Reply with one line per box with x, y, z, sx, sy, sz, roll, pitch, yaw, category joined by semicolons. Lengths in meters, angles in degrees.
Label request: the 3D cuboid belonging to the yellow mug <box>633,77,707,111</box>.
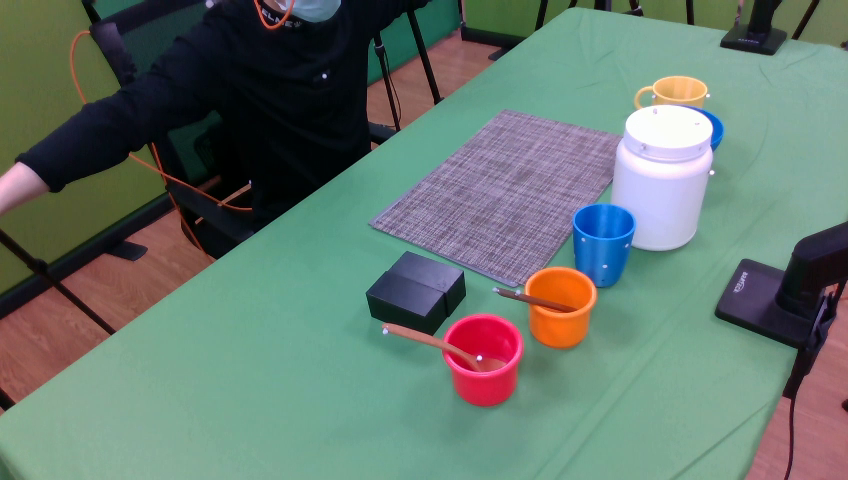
0.479;-0.270;1.186;0.130;0.064;0.100;10;44;21;yellow mug

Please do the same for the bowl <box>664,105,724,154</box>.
0.438;-0.166;1.063;0.151;0.077;0.150;-4;41;4;bowl

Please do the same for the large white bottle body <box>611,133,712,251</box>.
0.351;-0.090;0.904;0.130;0.185;0.130;-5;41;4;large white bottle body

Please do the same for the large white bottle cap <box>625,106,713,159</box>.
0.342;-0.153;0.848;0.115;0.018;0.114;-4;41;4;large white bottle cap

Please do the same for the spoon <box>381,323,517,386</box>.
0.033;0.133;0.722;0.195;0.021;0.041;29;33;-26;spoon

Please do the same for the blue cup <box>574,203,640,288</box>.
0.254;0.013;0.864;0.092;0.100;0.092;-4;38;4;blue cup

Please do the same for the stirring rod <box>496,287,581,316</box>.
0.150;0.080;0.773;0.178;0.006;0.014;17;21;-42;stirring rod
